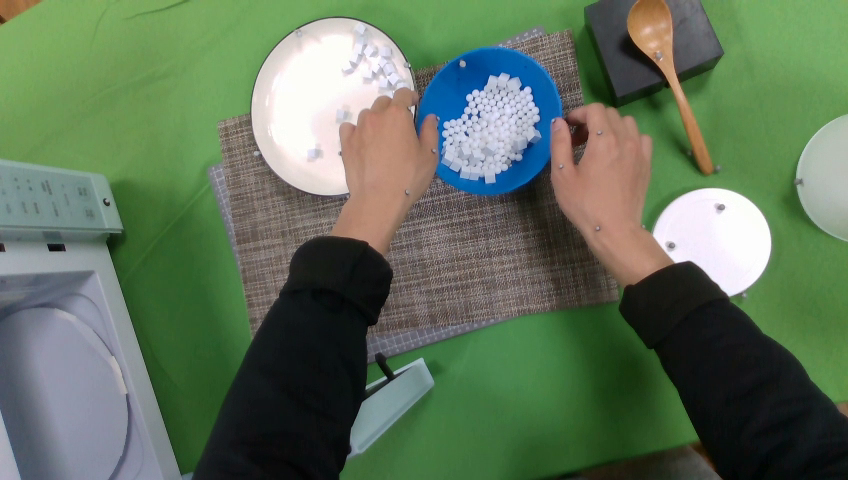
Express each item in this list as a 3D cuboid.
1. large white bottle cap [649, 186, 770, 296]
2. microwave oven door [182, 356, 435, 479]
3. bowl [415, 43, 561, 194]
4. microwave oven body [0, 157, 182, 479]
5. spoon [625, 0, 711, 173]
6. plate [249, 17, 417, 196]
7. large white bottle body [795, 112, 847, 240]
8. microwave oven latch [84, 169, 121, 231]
[{"bbox_3d":[0.295,0.001,0.627,0.114,0.018,0.115,0,90,12],"label":"large white bottle cap"},{"bbox_3d":[-0.175,0.233,0.620,0.356,0.244,0.039,-30,82,13],"label":"microwave oven door"},{"bbox_3d":[0.073,-0.122,0.648,0.151,0.077,0.151,0,91,15],"label":"bowl"},{"bbox_3d":[-0.521,0.167,0.713,0.326,0.261,0.440,-21,86,13],"label":"microwave oven body"},{"bbox_3d":[0.248,-0.148,0.600,0.041,0.021,0.195,-26,107,11],"label":"spoon"},{"bbox_3d":[-0.104,-0.154,0.714,0.208,0.038,0.209,0,90,15],"label":"plate"},{"bbox_3d":[0.412,-0.063,0.510,0.130,0.185,0.130,0,90,15],"label":"large white bottle body"},{"bbox_3d":[-0.423,-0.051,0.783,0.030,0.029,0.079,-20,86,13],"label":"microwave oven latch"}]
